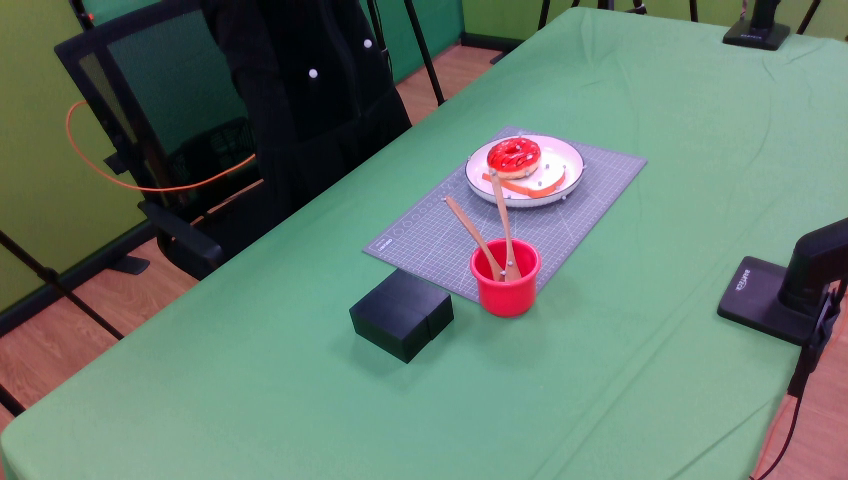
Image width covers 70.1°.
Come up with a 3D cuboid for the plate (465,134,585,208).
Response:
[{"bbox_3d":[0.178,-0.120,1.075,0.209,0.038,0.208,-5,40,5],"label":"plate"}]

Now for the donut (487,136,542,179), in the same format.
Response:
[{"bbox_3d":[0.159,-0.147,1.068,0.099,0.048,0.098,-9,39,8],"label":"donut"}]

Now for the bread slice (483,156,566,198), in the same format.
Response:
[{"bbox_3d":[0.187,-0.121,1.077,0.130,0.019,0.105,27,53,37],"label":"bread slice"}]

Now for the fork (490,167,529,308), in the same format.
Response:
[{"bbox_3d":[0.118,-0.006,0.857,0.028,0.018,0.206,-7,81,-14],"label":"fork"}]

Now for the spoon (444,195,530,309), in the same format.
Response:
[{"bbox_3d":[0.087,0.015,0.849,0.042,0.021,0.193,-31,89,-31],"label":"spoon"}]
